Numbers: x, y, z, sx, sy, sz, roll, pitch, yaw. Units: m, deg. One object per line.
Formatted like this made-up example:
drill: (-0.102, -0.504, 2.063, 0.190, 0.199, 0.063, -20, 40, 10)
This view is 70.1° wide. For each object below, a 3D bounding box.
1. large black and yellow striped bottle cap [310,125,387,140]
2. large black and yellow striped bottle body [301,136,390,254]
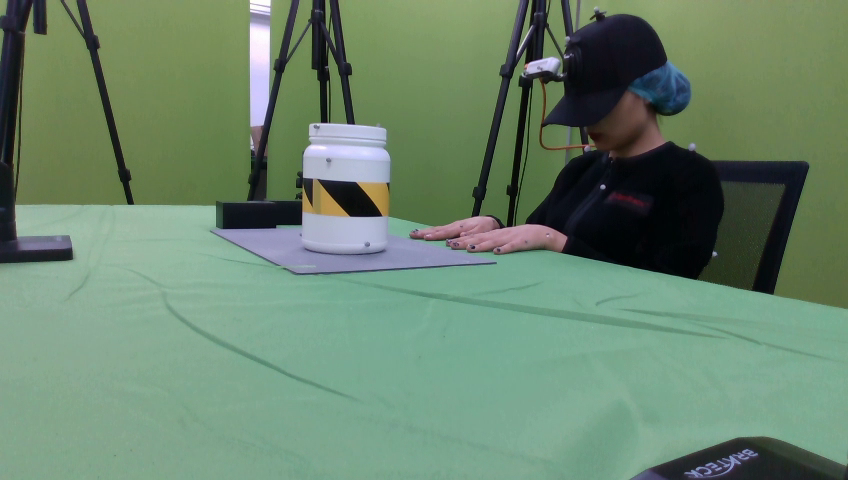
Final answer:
large black and yellow striped bottle cap: (-0.112, -0.160, 0.901, 0.115, 0.019, 0.115, 1, 8, 0)
large black and yellow striped bottle body: (-0.117, -0.077, 0.912, 0.131, 0.184, 0.130, 3, 7, 0)
